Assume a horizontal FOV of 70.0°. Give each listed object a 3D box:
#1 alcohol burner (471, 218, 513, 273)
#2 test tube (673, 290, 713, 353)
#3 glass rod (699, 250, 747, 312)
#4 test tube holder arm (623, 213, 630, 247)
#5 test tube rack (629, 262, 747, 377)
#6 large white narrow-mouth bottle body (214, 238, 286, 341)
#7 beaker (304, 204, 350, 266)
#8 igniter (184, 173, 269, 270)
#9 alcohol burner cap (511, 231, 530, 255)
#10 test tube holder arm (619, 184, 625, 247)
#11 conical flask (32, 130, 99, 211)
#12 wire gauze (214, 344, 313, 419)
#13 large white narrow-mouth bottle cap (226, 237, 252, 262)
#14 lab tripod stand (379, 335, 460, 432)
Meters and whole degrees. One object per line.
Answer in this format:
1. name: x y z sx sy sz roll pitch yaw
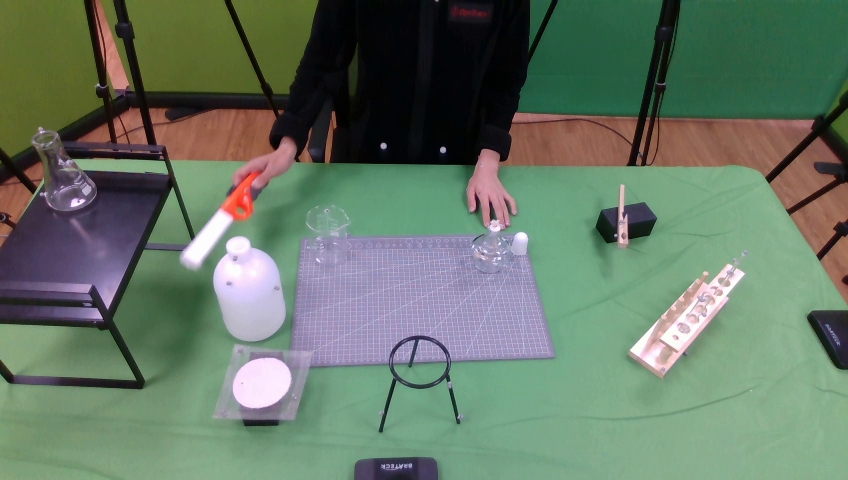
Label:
1. alcohol burner: 0.128 0.005 1.132 0.078 0.120 0.077 0 47 0
2. test tube: 0.429 0.135 0.981 0.017 0.151 0.017 4 44 -4
3. glass rod: 0.500 0.075 1.021 0.008 0.201 0.008 0 54 1
4. test tube holder arm: 0.393 -0.020 1.179 0.010 0.015 0.087 14 46 1
5. test tube rack: 0.464 0.126 1.060 0.242 0.085 0.066 -34 56 -31
6. large white narrow-mouth bottle body: -0.285 0.073 0.986 0.102 0.195 0.101 2 46 -2
7. beaker: -0.178 -0.006 1.132 0.084 0.101 0.073 4 46 -1
8. igniter: -0.347 -0.044 1.085 0.057 0.025 0.275 34 37 -13
9. alcohol burner cap: 0.191 0.003 1.188 0.034 0.048 0.033 2 46 -2
10. test tube holder arm: 0.396 -0.053 1.210 0.013 0.015 0.177 14 46 1
11. conical flask: -0.565 -0.111 0.944 0.075 0.122 0.075 2 46 -2
12. wire gauze: -0.241 0.213 0.915 0.121 0.011 0.124 5 46 1
13. large white narrow-mouth bottle cap: -0.282 0.014 0.923 0.038 0.024 0.037 2 46 -2
14. lab tripod stand: -0.010 0.214 0.912 0.148 0.132 0.147 1 45 0
